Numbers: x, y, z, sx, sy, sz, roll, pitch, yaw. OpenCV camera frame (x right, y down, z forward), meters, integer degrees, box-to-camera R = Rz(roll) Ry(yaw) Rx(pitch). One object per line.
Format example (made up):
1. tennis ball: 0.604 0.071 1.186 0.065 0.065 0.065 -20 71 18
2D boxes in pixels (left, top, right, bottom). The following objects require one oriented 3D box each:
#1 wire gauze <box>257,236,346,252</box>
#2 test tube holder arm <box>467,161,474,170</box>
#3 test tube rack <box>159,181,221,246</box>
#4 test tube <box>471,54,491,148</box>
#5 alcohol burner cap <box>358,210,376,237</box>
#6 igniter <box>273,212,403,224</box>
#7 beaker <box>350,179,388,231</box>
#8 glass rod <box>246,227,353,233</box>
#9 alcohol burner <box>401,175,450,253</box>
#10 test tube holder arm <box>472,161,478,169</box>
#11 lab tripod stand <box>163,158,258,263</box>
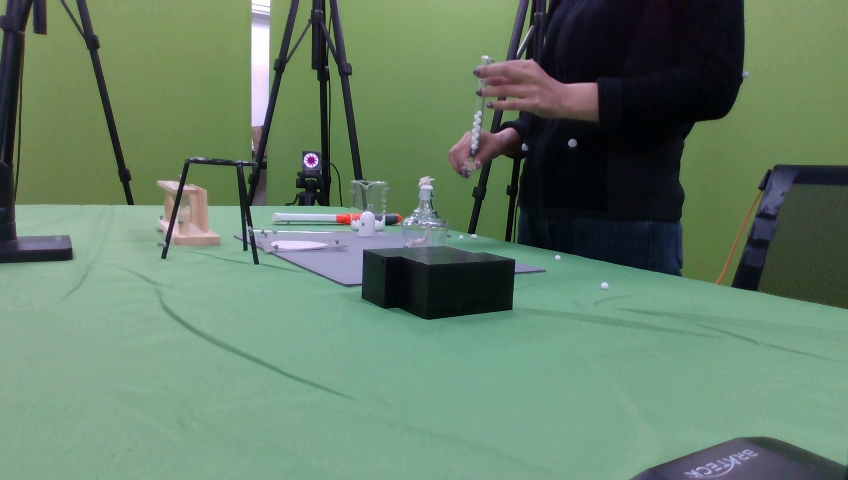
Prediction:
1. wire gauze: -0.189 0.005 0.931 0.122 0.011 0.124 1 7 -21
2. test tube holder arm: 0.084 -0.135 1.093 0.013 0.015 0.178 -2 7 2
3. test tube rack: -0.395 -0.050 1.010 0.067 0.085 0.241 -2 8 -28
4. test tube: 0.093 -0.226 0.990 0.017 0.150 0.017 6 10 -1
5. alcohol burner cap: -0.104 -0.030 1.098 0.034 0.048 0.034 3 7 0
6. igniter: -0.179 -0.048 1.290 0.278 0.025 0.057 -1 -2 -24
7. beaker: -0.111 -0.069 1.204 0.074 0.100 0.084 2 8 0
8. glass rod: -0.224 -0.017 1.109 0.201 0.008 0.008 1 7 -27
9. alcohol burner: 0.003 -0.040 0.933 0.078 0.119 0.078 2 9 0
10. test tube holder arm: 0.088 -0.130 1.048 0.010 0.015 0.088 -2 7 3
11. lab tripod stand: -0.265 -0.041 0.802 0.148 0.131 0.148 4 7 0
